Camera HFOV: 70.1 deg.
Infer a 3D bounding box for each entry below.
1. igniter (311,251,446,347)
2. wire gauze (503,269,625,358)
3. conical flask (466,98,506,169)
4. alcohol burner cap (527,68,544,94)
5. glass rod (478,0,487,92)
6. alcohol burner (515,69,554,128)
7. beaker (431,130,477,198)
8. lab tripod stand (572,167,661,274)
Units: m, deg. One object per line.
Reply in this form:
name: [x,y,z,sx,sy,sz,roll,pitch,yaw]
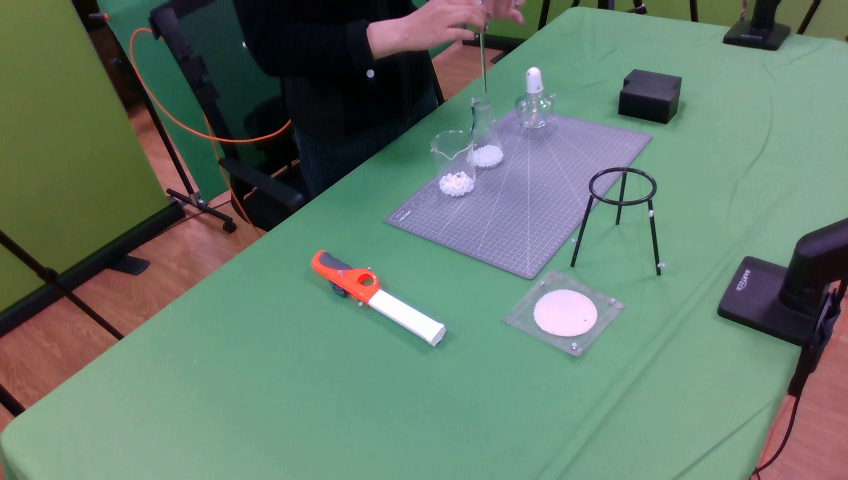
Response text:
igniter: [-0.078,0.081,0.899,0.274,0.025,0.057,27,62,35]
wire gauze: [0.194,0.100,0.840,0.120,0.011,0.125,27,54,36]
conical flask: [0.111,-0.199,1.116,0.075,0.122,0.075,-5,40,5]
alcohol burner cap: [0.216,-0.312,1.179,0.034,0.048,0.033,-9,40,8]
glass rod: [0.098,-0.344,1.012,0.008,0.200,0.008,-5,35,4]
alcohol burner: [0.221,-0.285,1.203,0.078,0.119,0.077,-4,39,4]
beaker: [0.055,-0.130,1.064,0.074,0.101,0.083,-4,41,8]
lab tripod stand: [0.283,-0.030,0.879,0.148,0.132,0.147,-7,38,6]
